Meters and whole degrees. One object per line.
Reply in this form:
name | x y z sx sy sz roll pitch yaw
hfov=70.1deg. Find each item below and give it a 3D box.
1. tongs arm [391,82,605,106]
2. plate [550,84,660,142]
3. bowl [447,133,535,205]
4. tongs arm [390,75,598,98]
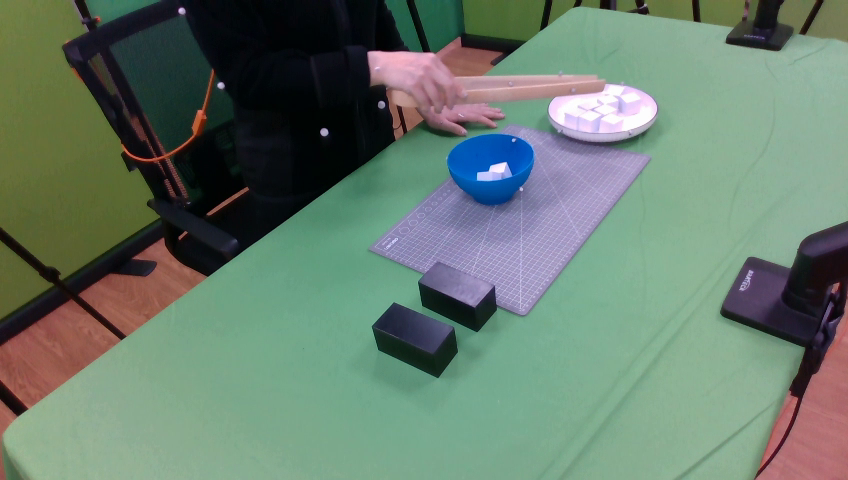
tongs arm | 0.136 -0.251 1.030 0.389 0.028 0.028 -7 45 -16
plate | 0.355 -0.246 1.195 0.207 0.039 0.206 -5 39 5
bowl | 0.119 -0.115 1.051 0.151 0.077 0.150 -5 40 5
tongs arm | 0.130 -0.263 1.044 0.386 0.026 0.050 -3 41 -12
